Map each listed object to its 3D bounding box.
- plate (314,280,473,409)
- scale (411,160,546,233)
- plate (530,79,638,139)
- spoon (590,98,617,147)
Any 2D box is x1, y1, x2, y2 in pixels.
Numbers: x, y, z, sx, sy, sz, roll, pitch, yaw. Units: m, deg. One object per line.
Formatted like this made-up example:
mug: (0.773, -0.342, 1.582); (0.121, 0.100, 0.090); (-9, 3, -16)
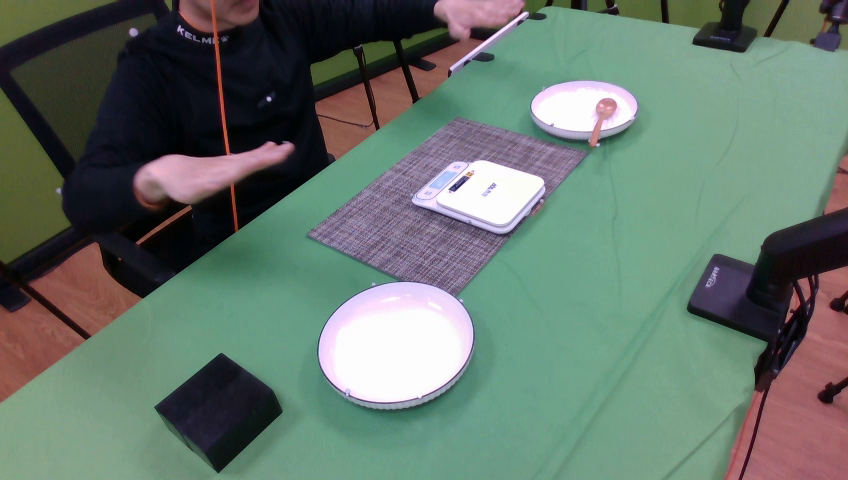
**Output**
plate: (-0.039, 0.139, 0.801); (0.207, 0.039, 0.206); (-3, 41, 3)
scale: (0.092, -0.083, 1.039); (0.199, 0.032, 0.149); (22, 48, 30)
plate: (0.317, -0.257, 1.209); (0.209, 0.038, 0.208); (-4, 41, 4)
spoon: (0.334, -0.225, 1.145); (0.041, 0.022, 0.194); (11, 37, 20)
